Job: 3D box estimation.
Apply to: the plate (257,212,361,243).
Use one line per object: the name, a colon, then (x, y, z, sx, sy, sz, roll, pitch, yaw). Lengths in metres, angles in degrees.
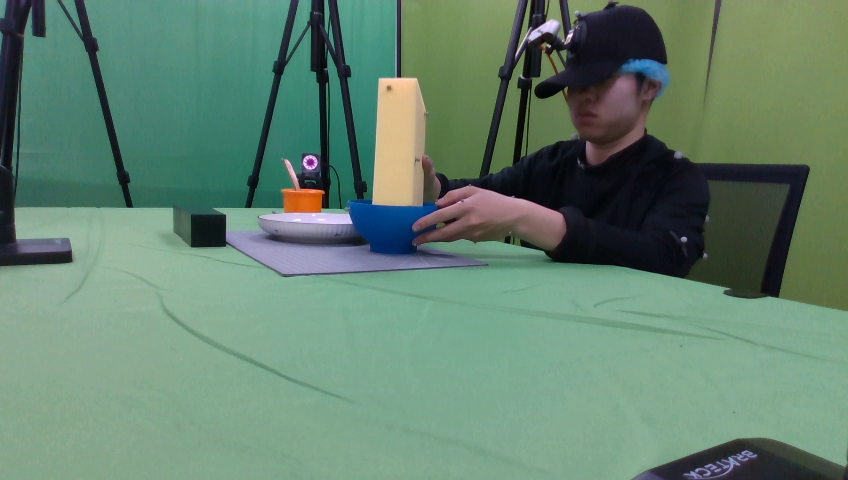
plate: (-0.189, -0.023, 1.072, 0.209, 0.038, 0.209, 3, 7, 0)

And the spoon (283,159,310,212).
spoon: (-0.279, -0.111, 1.324, 0.042, 0.193, 0.021, 3, -39, -35)

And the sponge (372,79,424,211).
sponge: (-0.037, -0.132, 0.951, 0.061, 0.206, 0.118, 0, -10, 7)

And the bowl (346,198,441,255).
bowl: (-0.049, -0.021, 0.950, 0.151, 0.077, 0.151, 3, 8, 0)
